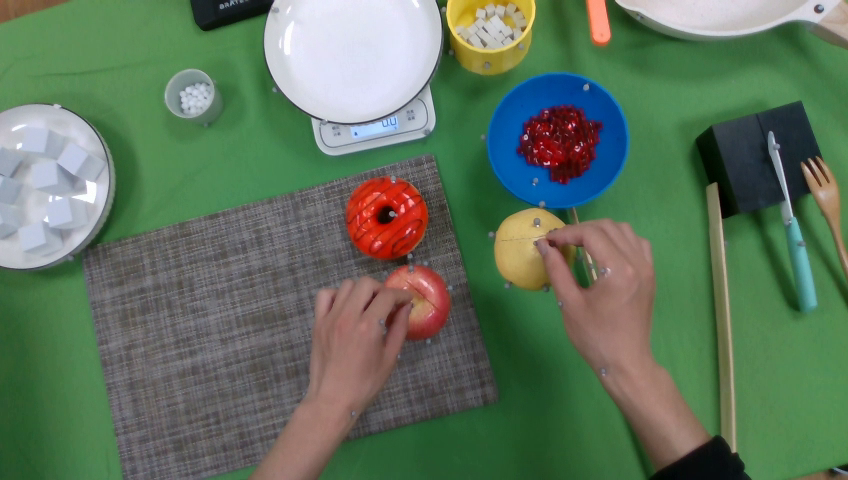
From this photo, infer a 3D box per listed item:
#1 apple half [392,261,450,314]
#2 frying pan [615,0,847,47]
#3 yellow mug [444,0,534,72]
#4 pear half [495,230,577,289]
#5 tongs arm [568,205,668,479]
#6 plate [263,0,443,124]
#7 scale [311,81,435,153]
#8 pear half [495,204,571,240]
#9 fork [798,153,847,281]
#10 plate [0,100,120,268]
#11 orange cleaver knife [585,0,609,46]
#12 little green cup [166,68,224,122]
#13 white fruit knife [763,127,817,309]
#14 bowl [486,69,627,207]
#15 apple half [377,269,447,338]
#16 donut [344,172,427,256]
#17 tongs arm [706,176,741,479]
[{"bbox_3d":[0.004,0.047,0.664,0.081,0.081,0.033,41,85,8],"label":"apple half"},{"bbox_3d":[0.392,-0.290,0.669,0.307,0.103,0.485,-42,74,0],"label":"frying pan"},{"bbox_3d":[0.065,-0.267,0.712,0.130,0.064,0.100,42,89,9],"label":"yellow mug"},{"bbox_3d":[0.108,0.017,0.562,0.076,0.110,0.056,-13,85,0],"label":"pear half"},{"bbox_3d":[0.239,0.137,0.669,0.051,0.026,0.383,-16,84,0],"label":"tongs arm"},{"bbox_3d":[-0.080,-0.233,0.704,0.209,0.038,0.208,0,83,4],"label":"plate"},{"bbox_3d":[-0.074,-0.214,0.735,0.148,0.031,0.200,-11,83,4],"label":"scale"},{"bbox_3d":[0.101,-0.018,0.574,0.070,0.088,0.031,-13,86,-2],"label":"pear half"},{"bbox_3d":[0.450,0.004,0.652,0.028,0.018,0.208,-25,98,0],"label":"fork"},{"bbox_3d":[-0.471,-0.067,0.747,0.207,0.039,0.207,-1,84,5],"label":"plate"},{"bbox_3d":[0.194,-0.321,0.670,0.077,0.012,0.210,-11,84,6],"label":"orange cleaver knife"},{"bbox_3d":[-0.278,-0.175,0.743,0.061,0.039,0.061,-1,83,5],"label":"little green cup"},{"bbox_3d":[0.392,-0.021,0.652,0.016,0.027,0.208,-17,97,3],"label":"white fruit knife"},{"bbox_3d":[0.144,-0.106,0.682,0.151,0.077,0.151,0,84,5],"label":"bowl"},{"bbox_3d":[-0.020,0.076,0.660,0.080,0.075,0.053,41,85,4],"label":"apple half"},{"bbox_3d":[-0.045,-0.030,0.702,0.099,0.048,0.099,-1,84,7],"label":"donut"},{"bbox_3d":[0.324,0.121,0.665,0.028,0.028,0.386,0,85,-1],"label":"tongs arm"}]
